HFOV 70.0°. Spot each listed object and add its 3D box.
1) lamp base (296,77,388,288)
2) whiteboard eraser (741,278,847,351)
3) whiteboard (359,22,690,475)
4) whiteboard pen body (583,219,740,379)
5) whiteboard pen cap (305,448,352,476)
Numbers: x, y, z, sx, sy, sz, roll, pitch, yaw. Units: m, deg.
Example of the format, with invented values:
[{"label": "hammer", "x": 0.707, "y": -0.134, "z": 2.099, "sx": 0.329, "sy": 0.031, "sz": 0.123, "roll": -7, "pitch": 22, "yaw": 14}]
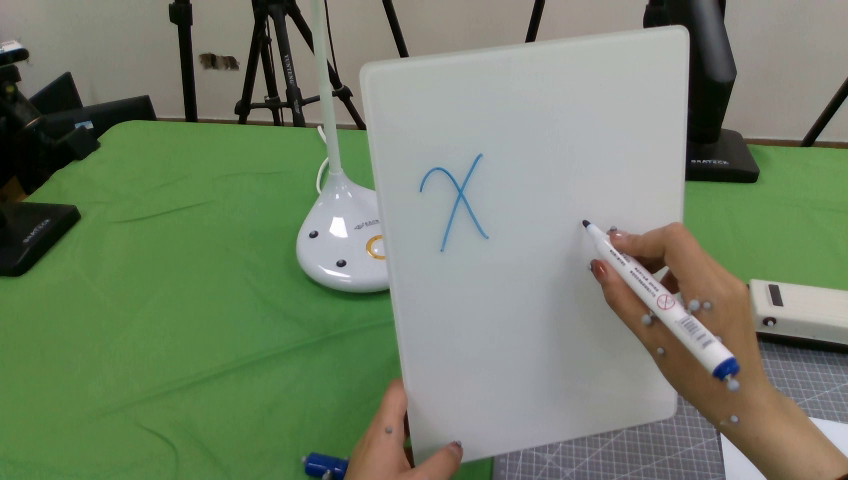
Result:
[{"label": "lamp base", "x": -0.073, "y": -0.068, "z": 0.635, "sx": 0.161, "sy": 0.182, "sz": 0.177, "roll": -28, "pitch": 42, "yaw": -28}, {"label": "whiteboard eraser", "x": 0.351, "y": 0.069, "z": 0.546, "sx": 0.112, "sy": 0.042, "sz": 0.055, "roll": 8, "pitch": 41, "yaw": 14}, {"label": "whiteboard", "x": 0.073, "y": -0.001, "z": 0.489, "sx": 0.217, "sy": 0.307, "sz": 0.143, "roll": -9, "pitch": 20, "yaw": -7}, {"label": "whiteboard pen body", "x": 0.138, "y": 0.029, "z": 0.372, "sx": 0.017, "sy": 0.017, "sz": 0.139, "roll": -16, "pitch": 45, "yaw": -16}, {"label": "whiteboard pen cap", "x": -0.073, "y": 0.170, "z": 0.465, "sx": 0.033, "sy": 0.018, "sz": 0.018, "roll": 5, "pitch": 39, "yaw": 12}]
